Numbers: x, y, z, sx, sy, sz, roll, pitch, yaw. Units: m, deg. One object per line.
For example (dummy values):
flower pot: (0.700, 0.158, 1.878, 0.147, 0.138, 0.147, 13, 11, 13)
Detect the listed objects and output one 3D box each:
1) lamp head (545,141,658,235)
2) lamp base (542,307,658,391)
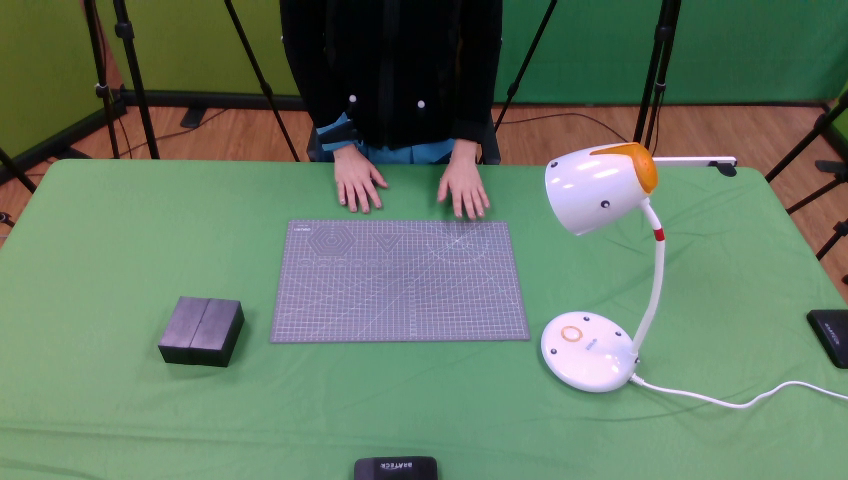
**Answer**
lamp head: (0.237, -0.072, 0.783, 0.123, 0.113, 0.112, -16, 33, 37)
lamp base: (0.296, 0.138, 0.975, 0.178, 0.181, 0.160, 28, 51, 18)
